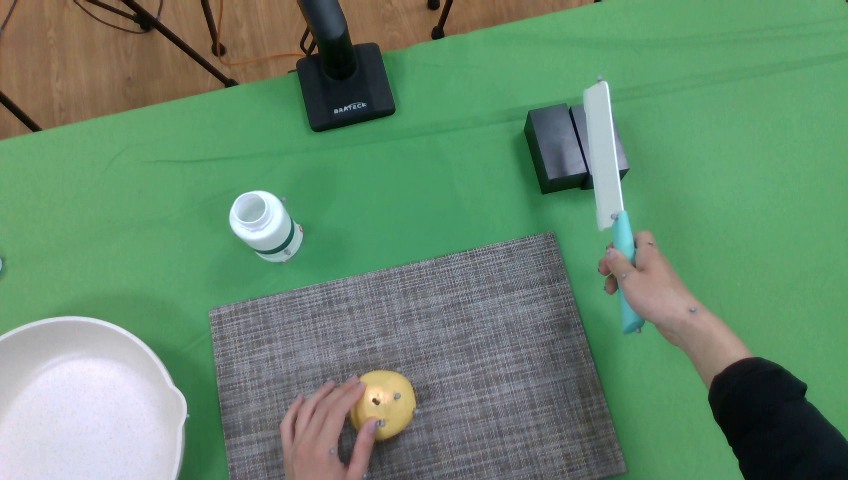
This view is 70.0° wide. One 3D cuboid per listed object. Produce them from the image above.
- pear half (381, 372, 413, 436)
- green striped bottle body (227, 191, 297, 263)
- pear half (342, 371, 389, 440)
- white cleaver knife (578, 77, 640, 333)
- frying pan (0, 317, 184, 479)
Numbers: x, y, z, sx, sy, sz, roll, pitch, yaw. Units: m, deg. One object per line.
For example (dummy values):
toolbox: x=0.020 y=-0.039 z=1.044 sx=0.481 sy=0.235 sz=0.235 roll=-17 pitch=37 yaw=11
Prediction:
pear half: x=-0.029 y=0.183 z=0.683 sx=0.031 sy=0.088 sz=0.070 roll=-8 pitch=69 yaw=-1
green striped bottle body: x=-0.197 y=-0.018 z=0.734 sx=0.063 sy=0.120 sz=0.063 roll=0 pitch=72 yaw=1
pear half: x=-0.065 y=0.183 z=0.673 sx=0.056 sy=0.110 sz=0.076 roll=-8 pitch=68 yaw=-1
white cleaver knife: x=0.206 y=-0.039 z=0.679 sx=0.021 sy=0.066 sz=0.285 roll=-5 pitch=85 yaw=-9
frying pan: x=-0.380 y=0.324 z=0.642 sx=0.307 sy=0.103 sz=0.483 roll=-17 pitch=65 yaw=-4
